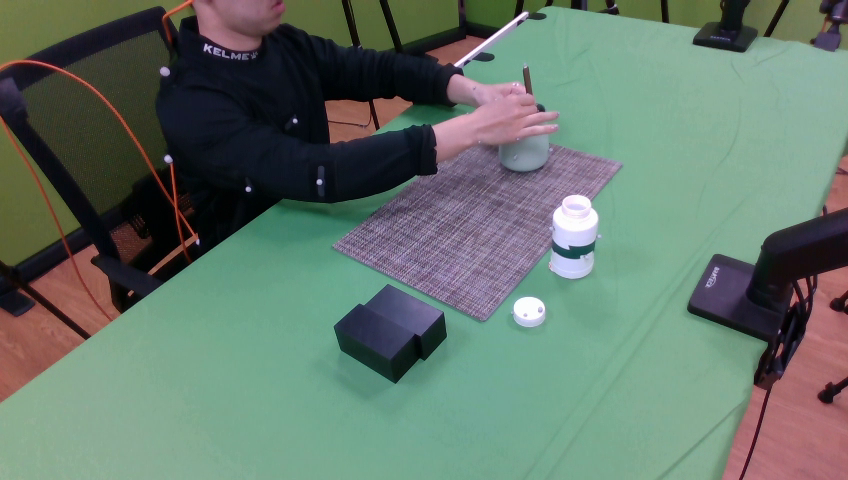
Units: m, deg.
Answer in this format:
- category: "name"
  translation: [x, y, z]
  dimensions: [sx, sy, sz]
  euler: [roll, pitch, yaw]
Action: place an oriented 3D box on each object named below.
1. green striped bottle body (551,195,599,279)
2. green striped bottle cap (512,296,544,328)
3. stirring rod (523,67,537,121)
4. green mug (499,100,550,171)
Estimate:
- category: "green striped bottle body"
  translation: [0.217, -0.006, 0.870]
  dimensions: [0.063, 0.120, 0.063]
  euler: [-4, 41, 4]
- category: "green striped bottle cap"
  translation: [0.144, 0.099, 0.837]
  dimensions: [0.044, 0.020, 0.044]
  euler: [-1, 43, 2]
- category: "stirring rod"
  translation: [0.192, -0.221, 1.061]
  dimensions: [0.005, 0.177, 0.014]
  euler: [17, 49, 37]
- category: "green mug"
  translation: [0.183, -0.198, 1.101]
  dimensions: [0.092, 0.105, 0.125]
  euler: [1, 41, 9]
